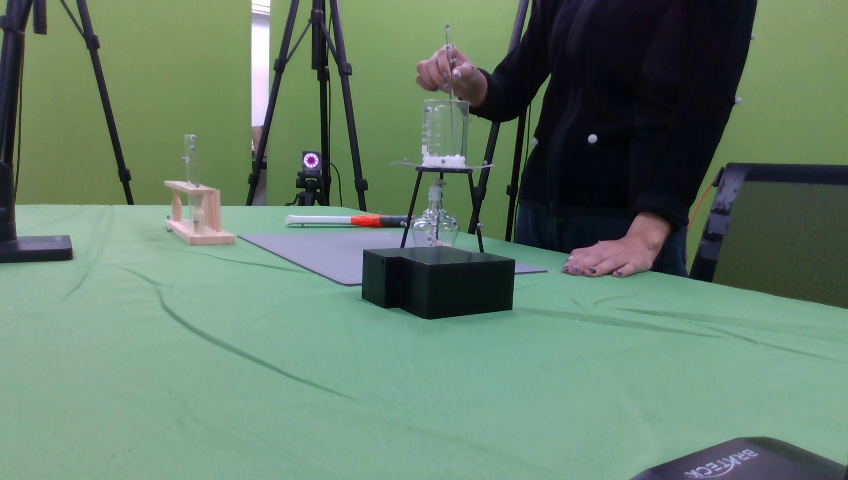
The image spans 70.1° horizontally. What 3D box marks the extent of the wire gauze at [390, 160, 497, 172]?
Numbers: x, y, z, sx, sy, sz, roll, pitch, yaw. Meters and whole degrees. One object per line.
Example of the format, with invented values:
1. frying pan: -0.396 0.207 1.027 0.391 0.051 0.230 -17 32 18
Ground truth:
1. wire gauze: 0.028 -0.114 0.920 0.122 0.011 0.124 -5 13 -34

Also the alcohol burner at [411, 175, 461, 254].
1. alcohol burner: 0.018 -0.040 0.931 0.078 0.119 0.078 0 7 0

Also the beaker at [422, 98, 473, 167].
1. beaker: 0.031 -0.162 0.919 0.074 0.100 0.083 -4 9 -36

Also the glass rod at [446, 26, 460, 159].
1. glass rod: 0.044 -0.224 0.923 0.008 0.199 0.008 -5 5 1

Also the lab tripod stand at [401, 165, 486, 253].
1. lab tripod stand: 0.028 -0.049 0.930 0.148 0.131 0.148 2 9 0

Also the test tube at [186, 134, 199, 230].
1. test tube: -0.360 -0.089 0.946 0.017 0.150 0.017 0 10 0

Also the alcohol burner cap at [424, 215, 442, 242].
1. alcohol burner cap: 0.017 -0.022 1.098 0.034 0.048 0.034 2 9 0

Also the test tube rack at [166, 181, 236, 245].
1. test tube rack: -0.383 -0.051 1.024 0.067 0.085 0.241 -2 9 -31

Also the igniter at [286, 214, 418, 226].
1. igniter: -0.145 -0.043 1.263 0.278 0.025 0.057 -1 -2 -25
